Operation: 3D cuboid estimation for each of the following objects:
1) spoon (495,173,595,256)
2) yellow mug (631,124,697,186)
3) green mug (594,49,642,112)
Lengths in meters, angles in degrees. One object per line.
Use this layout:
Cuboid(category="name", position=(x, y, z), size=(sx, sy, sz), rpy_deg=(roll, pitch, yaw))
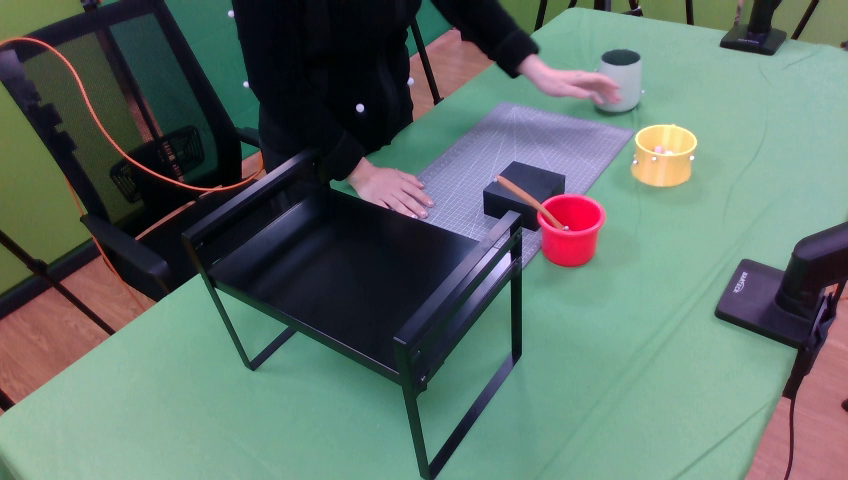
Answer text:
Cuboid(category="spoon", position=(0.181, -0.040, 0.902), size=(0.194, 0.021, 0.041), rpy_deg=(40, 49, -14))
Cuboid(category="yellow mug", position=(0.424, -0.158, 1.062), size=(0.099, 0.064, 0.131), rpy_deg=(15, 45, 24))
Cuboid(category="green mug", position=(0.397, -0.333, 1.240), size=(0.092, 0.105, 0.125), rpy_deg=(-3, 41, 7))
